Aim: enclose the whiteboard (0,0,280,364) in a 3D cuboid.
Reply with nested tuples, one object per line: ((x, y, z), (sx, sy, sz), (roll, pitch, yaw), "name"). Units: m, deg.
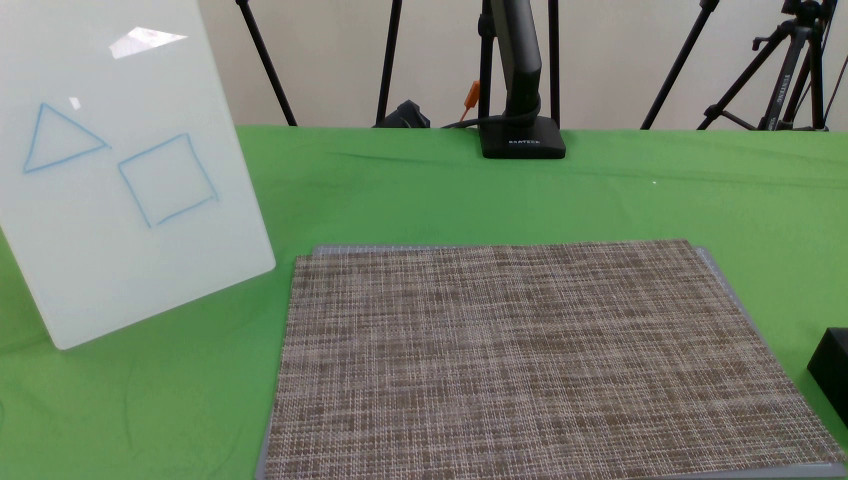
((-0.308, -0.076, 0.608), (0.217, 0.307, 0.142), (-23, 22, -28), "whiteboard")
